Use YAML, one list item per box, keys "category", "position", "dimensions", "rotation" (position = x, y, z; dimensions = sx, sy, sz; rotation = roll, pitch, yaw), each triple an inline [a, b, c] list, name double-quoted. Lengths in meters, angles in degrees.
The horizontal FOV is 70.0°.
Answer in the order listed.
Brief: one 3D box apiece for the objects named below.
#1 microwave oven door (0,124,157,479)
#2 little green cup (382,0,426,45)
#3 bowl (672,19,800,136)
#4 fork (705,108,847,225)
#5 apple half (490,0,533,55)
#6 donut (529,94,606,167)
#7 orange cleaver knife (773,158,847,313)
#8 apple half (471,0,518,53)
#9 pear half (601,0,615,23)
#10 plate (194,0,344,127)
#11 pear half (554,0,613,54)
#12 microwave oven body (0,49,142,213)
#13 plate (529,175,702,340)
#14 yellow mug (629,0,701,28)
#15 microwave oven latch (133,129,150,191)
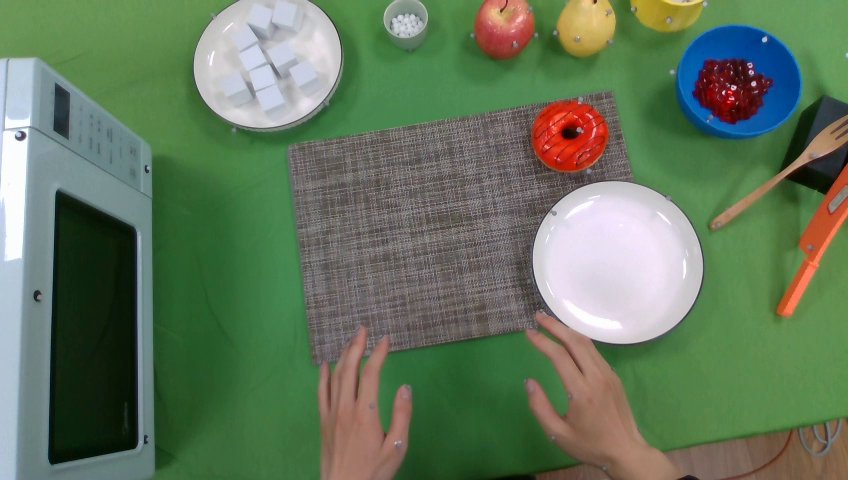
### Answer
- category: "microwave oven door"
  position: [-0.367, 0.085, 0.658]
  dimensions: [0.039, 0.245, 0.354]
  rotation: [-7, 77, 2]
- category: "little green cup"
  position: [-0.026, -0.305, 0.845]
  dimensions: [0.061, 0.039, 0.061]
  rotation: [-1, 78, 4]
- category: "bowl"
  position: [0.387, -0.196, 0.780]
  dimensions: [0.151, 0.077, 0.150]
  rotation: [-1, 79, 3]
- category: "fork"
  position: [0.439, -0.086, 0.749]
  dimensions: [0.207, 0.018, 0.028]
  rotation: [-41, 84, 15]
- category: "apple half"
  position: [0.124, -0.277, 0.813]
  dimensions: [0.032, 0.082, 0.081]
  rotation: [39, 82, 14]
- category: "donut"
  position: [0.187, -0.143, 0.792]
  dimensions: [0.099, 0.048, 0.098]
  rotation: [-1, 79, 5]
- category: "orange cleaver knife"
  position: [0.476, -0.011, 0.733]
  dimensions: [0.012, 0.077, 0.212]
  rotation: [22, 109, 6]
- category: "apple half"
  position: [0.094, -0.301, 0.821]
  dimensions: [0.053, 0.075, 0.081]
  rotation: [40, 86, 14]
- category: "pear half"
  position: [0.224, -0.315, 0.808]
  dimensions: [0.070, 0.088, 0.031]
  rotation: [20, 80, 12]
- category: "plate"
  position: [-0.212, -0.251, 0.844]
  dimensions: [0.207, 0.039, 0.206]
  rotation: [-1, 78, 3]
- category: "pear half"
  position: [0.207, -0.285, 0.792]
  dimensions: [0.076, 0.110, 0.056]
  rotation: [22, 79, 12]
- category: "microwave oven body"
  position: [-0.516, 0.062, 0.676]
  dimensions: [0.326, 0.261, 0.439]
  rotation: [-7, 78, 1]
- category: "plate"
  position: [0.235, 0.022, 0.758]
  dimensions: [0.209, 0.038, 0.208]
  rotation: [-1, 78, 3]
- category: "yellow mug"
  position: [0.325, -0.361, 0.824]
  dimensions: [0.100, 0.064, 0.130]
  rotation: [-41, 78, -5]
- category: "microwave oven latch"
  position: [-0.382, -0.105, 0.803]
  dimensions: [0.030, 0.029, 0.079]
  rotation: [-5, 78, 2]
